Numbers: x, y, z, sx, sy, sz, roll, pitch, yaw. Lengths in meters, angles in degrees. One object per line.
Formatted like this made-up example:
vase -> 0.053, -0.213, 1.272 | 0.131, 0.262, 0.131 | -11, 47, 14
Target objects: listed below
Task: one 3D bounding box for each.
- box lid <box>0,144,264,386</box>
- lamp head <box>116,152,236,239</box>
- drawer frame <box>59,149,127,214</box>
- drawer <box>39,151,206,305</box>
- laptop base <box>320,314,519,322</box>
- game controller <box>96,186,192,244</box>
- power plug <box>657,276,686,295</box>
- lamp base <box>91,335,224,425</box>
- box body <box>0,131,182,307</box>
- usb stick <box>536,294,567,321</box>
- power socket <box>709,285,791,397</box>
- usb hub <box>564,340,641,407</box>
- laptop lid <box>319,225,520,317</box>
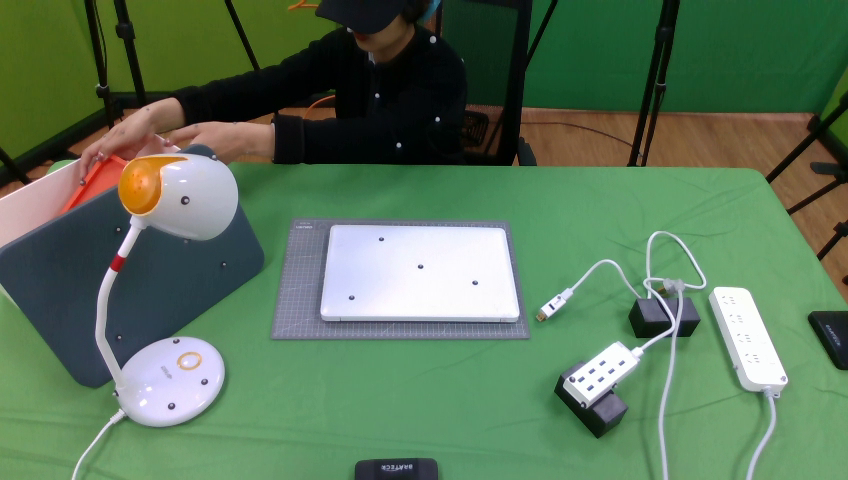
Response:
box lid -> -0.443, 0.032, 0.979 | 0.015, 0.264, 0.371 | 13, 42, 41
lamp head -> -0.315, -0.057, 0.747 | 0.112, 0.112, 0.123 | 26, 10, 20
drawer frame -> -0.528, -0.022, 1.064 | 0.201, 0.083, 0.213 | 26, 78, 15
drawer -> -0.527, -0.022, 1.065 | 0.194, 0.073, 0.211 | 27, 77, 14
laptop base -> -0.009, 0.062, 1.138 | 0.354, 0.023, 0.234 | 1, 42, -3
game controller -> -0.507, -0.054, 1.087 | 0.155, 0.052, 0.097 | 24, 47, 12
power plug -> 0.450, 0.087, 1.113 | 0.073, 0.052, 0.035 | -13, 72, -55
lamp base -> -0.401, 0.171, 0.892 | 0.160, 0.181, 0.179 | 30, 53, 23
box body -> -0.550, -0.007, 1.068 | 0.253, 0.161, 0.363 | 30, 51, 23
usb stick -> 0.226, 0.123, 1.083 | 0.059, 0.027, 0.021 | -37, 77, -8
power socket -> 0.567, 0.168, 1.064 | 0.072, 0.033, 0.225 | 2, 46, 0
usb hub -> 0.278, 0.205, 0.944 | 0.125, 0.025, 0.049 | -27, 52, -28
laptop lid -> -0.008, 0.052, 1.131 | 0.357, 0.013, 0.240 | 2, 43, -2
